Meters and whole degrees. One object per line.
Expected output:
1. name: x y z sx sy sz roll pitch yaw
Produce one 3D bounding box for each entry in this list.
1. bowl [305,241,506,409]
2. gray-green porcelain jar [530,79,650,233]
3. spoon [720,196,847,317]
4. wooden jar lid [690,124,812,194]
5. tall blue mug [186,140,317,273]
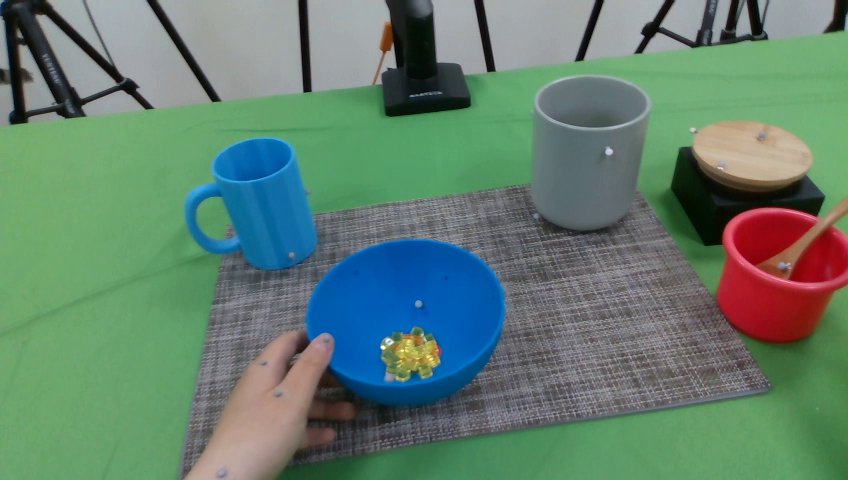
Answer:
1. bowl: -0.011 0.078 0.477 0.151 0.077 0.150 -3 41 3
2. gray-green porcelain jar: 0.160 -0.079 0.603 0.106 0.128 0.105 -3 41 3
3. spoon: 0.323 -0.006 0.492 0.022 0.194 0.041 30 22 -31
4. wooden jar lid: 0.319 -0.080 0.597 0.108 0.021 0.107 -4 40 4
5. tall blue mug: -0.163 -0.024 0.587 0.077 0.109 0.107 26 50 30
